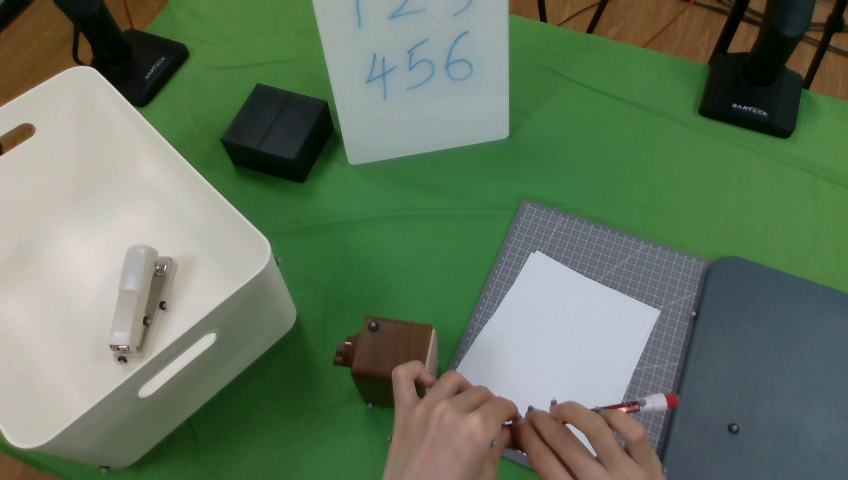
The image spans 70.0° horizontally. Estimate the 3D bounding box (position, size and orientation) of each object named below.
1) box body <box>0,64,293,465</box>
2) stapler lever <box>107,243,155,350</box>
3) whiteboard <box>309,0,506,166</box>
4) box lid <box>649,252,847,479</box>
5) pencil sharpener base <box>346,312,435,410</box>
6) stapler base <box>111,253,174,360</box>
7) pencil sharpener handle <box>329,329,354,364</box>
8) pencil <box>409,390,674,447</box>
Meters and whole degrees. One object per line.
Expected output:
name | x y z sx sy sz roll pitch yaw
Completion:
box body | -0.343 0.020 0.636 0.361 0.162 0.254 40 69 21
stapler lever | -0.319 0.058 0.657 0.027 0.040 0.117 1 63 5
whiteboard | -0.022 -0.274 0.745 0.217 0.308 0.142 -10 41 -3
box lid | 0.377 0.196 0.600 0.262 0.015 0.369 20 63 12
pencil sharpener base | -0.032 0.122 0.600 0.076 0.108 0.061 8 62 7
stapler base | -0.318 0.069 0.681 0.041 0.024 0.129 1 63 5
pencil sharpener handle | -0.083 0.108 0.595 0.030 0.068 0.035 8 62 7
pencil | 0.084 0.130 0.435 0.194 0.012 0.012 -10 60 -1
